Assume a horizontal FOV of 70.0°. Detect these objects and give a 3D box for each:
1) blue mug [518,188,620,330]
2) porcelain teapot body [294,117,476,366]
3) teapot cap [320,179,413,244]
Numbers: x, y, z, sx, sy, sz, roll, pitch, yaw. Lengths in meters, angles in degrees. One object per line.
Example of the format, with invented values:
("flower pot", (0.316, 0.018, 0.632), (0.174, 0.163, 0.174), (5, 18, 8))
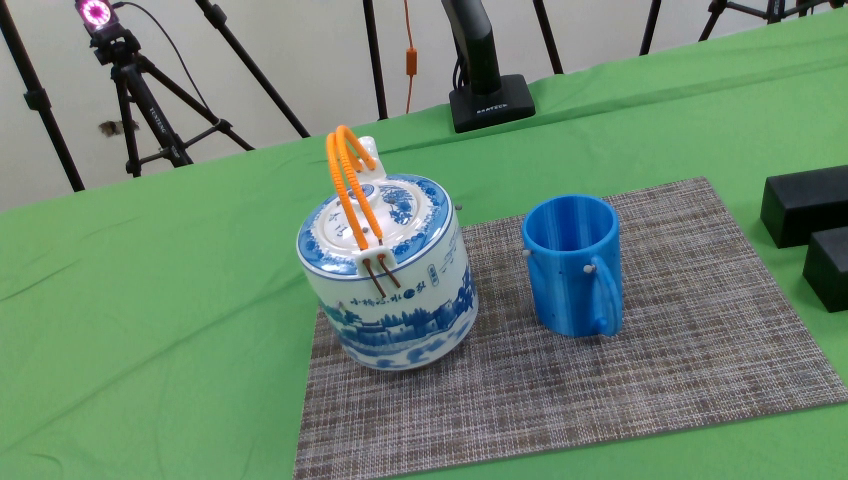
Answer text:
("blue mug", (0.139, 0.028, 0.542), (0.082, 0.107, 0.115), (-23, 40, -6))
("porcelain teapot body", (-0.045, -0.018, 0.568), (0.145, 0.228, 0.203), (-17, 40, 2))
("teapot cap", (-0.051, -0.030, 0.521), (0.085, 0.044, 0.084), (-9, 38, 7))
